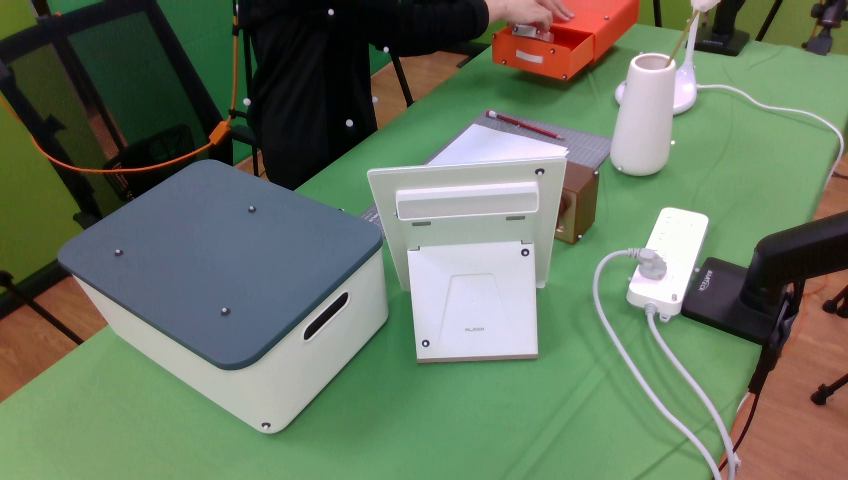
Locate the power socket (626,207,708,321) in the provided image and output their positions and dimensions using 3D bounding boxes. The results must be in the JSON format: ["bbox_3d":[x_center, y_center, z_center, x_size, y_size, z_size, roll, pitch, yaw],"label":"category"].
[{"bbox_3d":[0.359,0.025,0.886,0.072,0.033,0.227,16,46,26],"label":"power socket"}]

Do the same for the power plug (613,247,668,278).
[{"bbox_3d":[0.306,0.032,0.851,0.072,0.053,0.035,24,49,34],"label":"power plug"}]

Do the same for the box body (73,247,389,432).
[{"bbox_3d":[-0.255,0.065,0.827,0.361,0.161,0.255,21,48,29],"label":"box body"}]

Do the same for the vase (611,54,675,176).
[{"bbox_3d":[0.377,-0.209,1.031,0.098,0.201,0.097,-3,40,3],"label":"vase"}]

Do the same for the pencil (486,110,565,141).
[{"bbox_3d":[0.204,-0.232,1.226,0.192,0.012,0.012,29,52,33],"label":"pencil"}]

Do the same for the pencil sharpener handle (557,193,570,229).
[{"bbox_3d":[0.195,-0.038,0.908,0.035,0.068,0.031,24,50,30],"label":"pencil sharpener handle"}]

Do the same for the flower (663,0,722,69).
[{"bbox_3d":[0.379,-0.261,0.965,0.044,0.362,0.038,21,53,5],"label":"flower"}]

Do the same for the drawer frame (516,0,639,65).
[{"bbox_3d":[0.354,-0.506,1.404,0.200,0.083,0.214,25,54,33],"label":"drawer frame"}]

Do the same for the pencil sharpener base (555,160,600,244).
[{"bbox_3d":[0.228,-0.057,0.945,0.061,0.107,0.077,24,50,31],"label":"pencil sharpener base"}]

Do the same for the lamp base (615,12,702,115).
[{"bbox_3d":[0.484,-0.364,1.211,0.180,0.181,0.159,-15,41,-14],"label":"lamp base"}]

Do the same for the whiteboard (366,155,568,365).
[{"bbox_3d":[0.059,0.049,0.738,0.217,0.307,0.143,-3,60,5],"label":"whiteboard"}]

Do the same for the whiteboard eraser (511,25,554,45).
[{"bbox_3d":[0.241,-0.448,1.333,0.055,0.042,0.113,24,22,29],"label":"whiteboard eraser"}]

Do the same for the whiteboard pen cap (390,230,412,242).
[{"bbox_3d":[-0.037,-0.006,0.980,0.033,0.018,0.018,9,43,17],"label":"whiteboard pen cap"}]

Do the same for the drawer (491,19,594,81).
[{"bbox_3d":[0.288,-0.445,1.347,0.193,0.073,0.212,24,48,32],"label":"drawer"}]

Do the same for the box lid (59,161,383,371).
[{"bbox_3d":[-0.262,0.010,0.777,0.369,0.015,0.264,21,48,29],"label":"box lid"}]

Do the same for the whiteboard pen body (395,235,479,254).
[{"bbox_3d":[0.019,0.005,0.963,0.140,0.017,0.017,9,43,17],"label":"whiteboard pen body"}]
